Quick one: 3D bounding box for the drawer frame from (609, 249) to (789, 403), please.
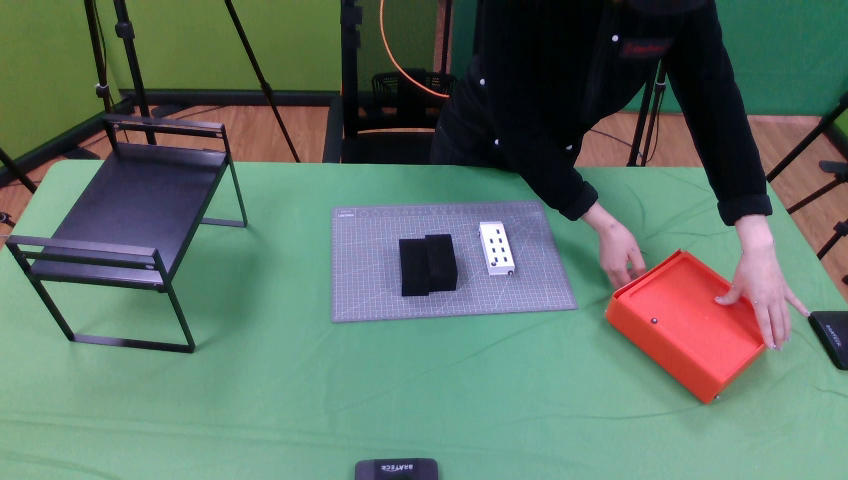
[{"bbox_3d":[0.470,0.139,1.051,0.202,0.083,0.212,-28,55,-27],"label":"drawer frame"}]

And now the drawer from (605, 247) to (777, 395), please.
[{"bbox_3d":[0.463,0.136,1.060,0.194,0.073,0.210,-27,55,-27],"label":"drawer"}]

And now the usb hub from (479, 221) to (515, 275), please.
[{"bbox_3d":[0.141,0.014,1.187,0.049,0.025,0.124,-3,46,-6],"label":"usb hub"}]
